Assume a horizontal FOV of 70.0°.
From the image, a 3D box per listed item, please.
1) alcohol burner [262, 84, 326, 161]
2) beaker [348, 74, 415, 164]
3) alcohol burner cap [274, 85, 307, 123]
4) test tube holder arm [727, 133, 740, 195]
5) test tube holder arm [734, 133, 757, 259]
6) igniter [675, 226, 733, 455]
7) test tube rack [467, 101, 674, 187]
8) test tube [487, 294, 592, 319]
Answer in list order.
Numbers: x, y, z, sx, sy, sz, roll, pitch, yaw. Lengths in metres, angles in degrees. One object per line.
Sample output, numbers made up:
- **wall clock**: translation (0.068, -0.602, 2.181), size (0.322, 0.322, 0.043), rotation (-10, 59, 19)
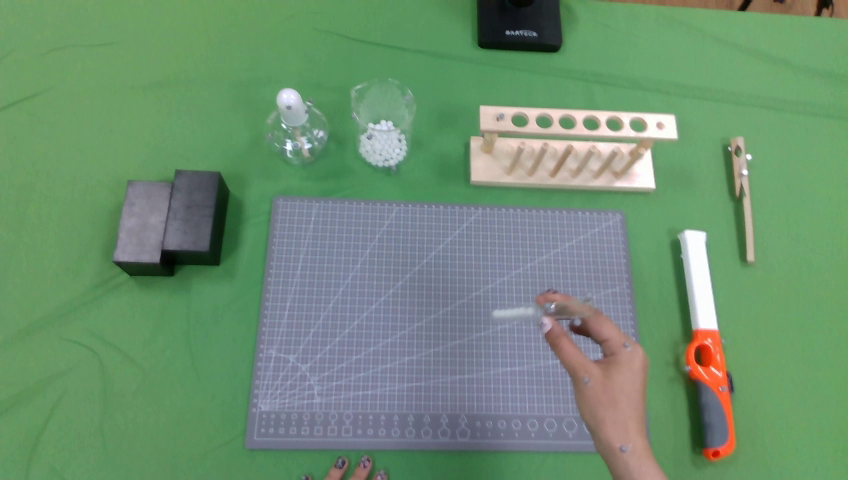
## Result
- **alcohol burner**: translation (-0.159, -0.147, 0.731), size (0.078, 0.120, 0.077), rotation (2, 68, -4)
- **beaker**: translation (-0.055, -0.146, 0.749), size (0.084, 0.101, 0.073), rotation (29, 70, 7)
- **alcohol burner cap**: translation (-0.155, -0.159, 0.698), size (0.034, 0.048, 0.033), rotation (0, 75, -1)
- **test tube holder arm**: translation (0.420, -0.103, 0.820), size (0.010, 0.015, 0.087), rotation (-8, 68, 29)
- **test tube holder arm**: translation (0.424, -0.061, 0.802), size (0.013, 0.015, 0.177), rotation (-10, 67, 29)
- **igniter**: translation (0.335, 0.114, 0.729), size (0.057, 0.025, 0.274), rotation (6, 70, -13)
- **test tube rack**: translation (0.181, -0.119, 0.768), size (0.243, 0.085, 0.066), rotation (2, 70, -5)
- **test tube**: translation (0.099, 0.062, 0.553), size (0.017, 0.150, 0.017), rotation (4, 80, -24)
